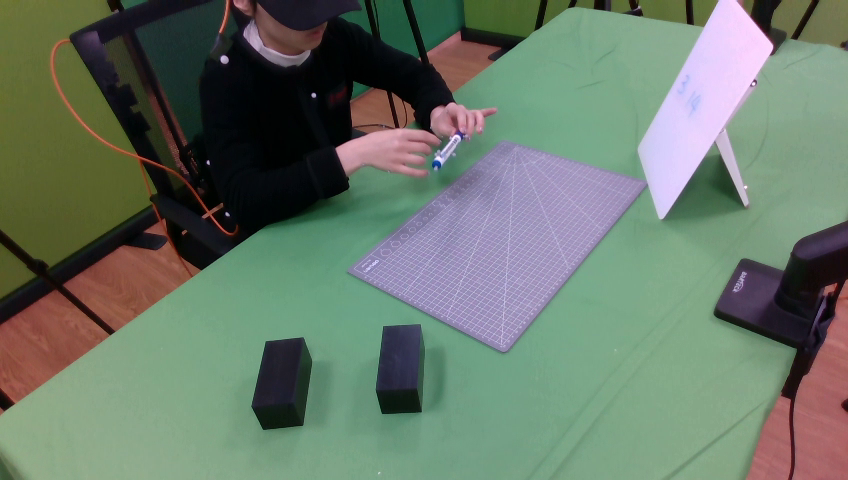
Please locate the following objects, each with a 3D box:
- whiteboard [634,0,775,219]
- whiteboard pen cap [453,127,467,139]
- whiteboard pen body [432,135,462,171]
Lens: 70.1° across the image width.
[{"bbox_3d":[0.485,-0.192,0.957,0.144,0.305,0.216,14,41,-4],"label":"whiteboard"},{"bbox_3d":[0.062,-0.183,1.053,0.018,0.018,0.033,10,37,20],"label":"whiteboard pen cap"},{"bbox_3d":[0.042,-0.151,1.007,0.017,0.017,0.141,9,35,18],"label":"whiteboard pen body"}]
